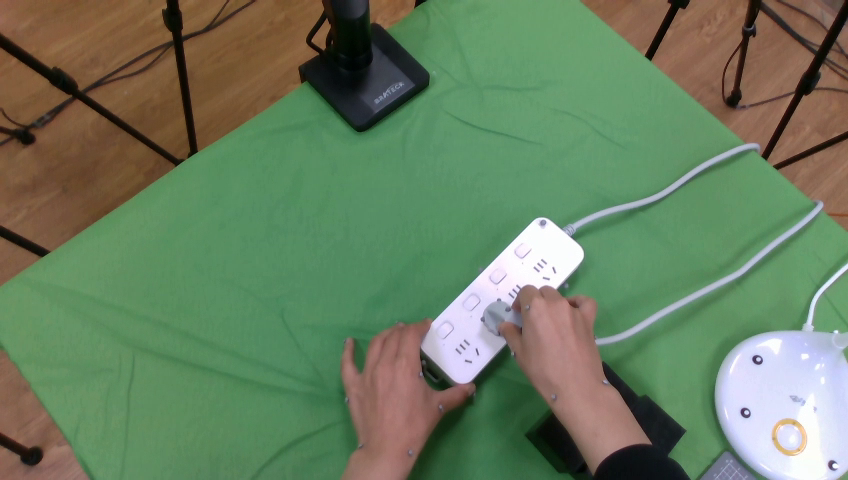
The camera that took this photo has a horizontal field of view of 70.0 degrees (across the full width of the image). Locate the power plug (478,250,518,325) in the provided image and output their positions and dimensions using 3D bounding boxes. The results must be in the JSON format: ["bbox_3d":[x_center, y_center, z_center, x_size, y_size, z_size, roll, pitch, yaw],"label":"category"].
[{"bbox_3d":[0.079,0.053,0.624,0.035,0.052,0.072,33,60,-15],"label":"power plug"}]

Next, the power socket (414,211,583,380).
[{"bbox_3d":[0.083,0.057,0.656,0.226,0.033,0.072,-42,79,-17],"label":"power socket"}]

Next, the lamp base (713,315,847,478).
[{"bbox_3d":[0.393,0.128,0.574,0.160,0.181,0.178,19,67,3],"label":"lamp base"}]
